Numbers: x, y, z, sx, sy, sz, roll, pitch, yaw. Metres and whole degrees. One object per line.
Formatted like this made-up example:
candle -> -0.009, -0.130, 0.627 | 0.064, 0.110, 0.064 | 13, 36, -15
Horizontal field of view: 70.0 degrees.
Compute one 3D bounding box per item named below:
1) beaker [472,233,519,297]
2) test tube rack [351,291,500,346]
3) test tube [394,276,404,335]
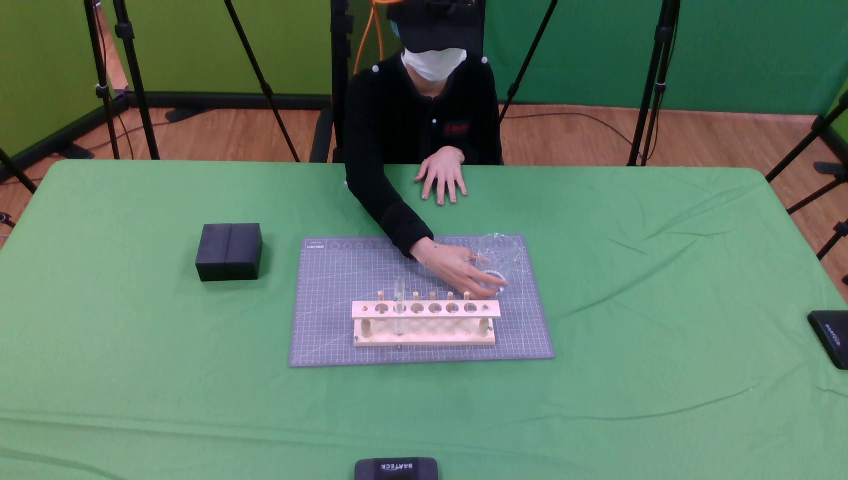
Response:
beaker -> 0.127, 0.047, 1.106 | 0.074, 0.101, 0.083 | 1, 45, -4
test tube rack -> 0.001, 0.129, 1.026 | 0.242, 0.085, 0.066 | 0, 46, -4
test tube -> -0.041, 0.109, 0.972 | 0.017, 0.151, 0.017 | 2, 50, -2
